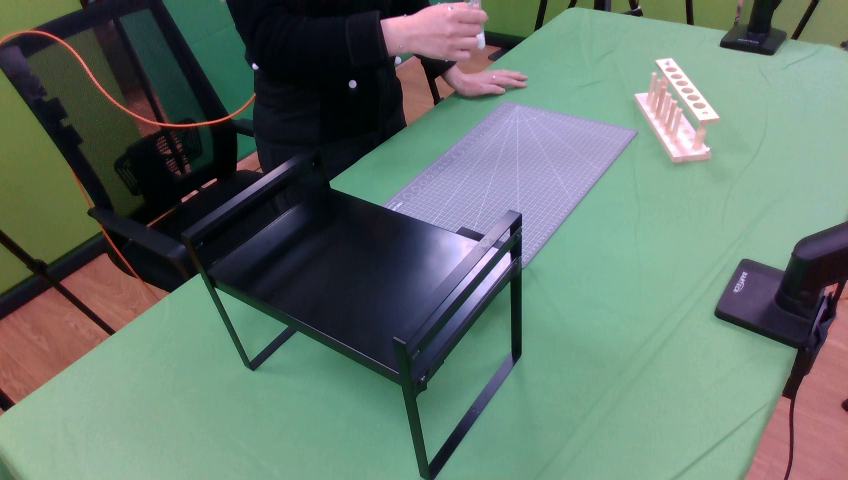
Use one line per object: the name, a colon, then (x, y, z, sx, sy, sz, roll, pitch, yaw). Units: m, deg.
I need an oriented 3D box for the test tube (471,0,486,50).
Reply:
test tube: (0.085, -0.342, 0.946, 0.017, 0.151, 0.017, -2, 77, 9)

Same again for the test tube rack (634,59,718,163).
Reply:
test tube rack: (0.470, -0.250, 1.148, 0.067, 0.085, 0.241, -6, 40, 3)
